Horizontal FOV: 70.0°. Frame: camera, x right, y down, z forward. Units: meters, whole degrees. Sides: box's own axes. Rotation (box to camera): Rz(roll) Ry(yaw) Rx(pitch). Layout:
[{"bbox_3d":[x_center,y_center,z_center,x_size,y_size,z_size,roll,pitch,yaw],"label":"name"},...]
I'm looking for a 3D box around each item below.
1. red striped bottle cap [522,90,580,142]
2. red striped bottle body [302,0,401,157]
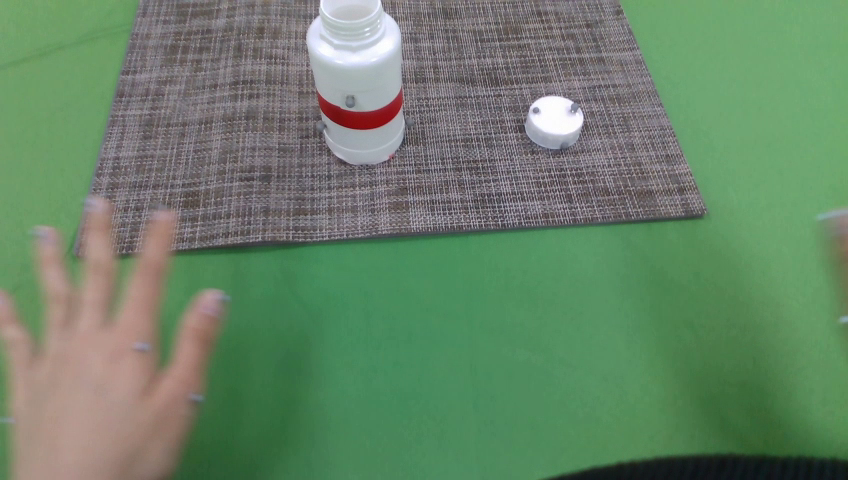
[{"bbox_3d":[0.101,-0.099,0.481,0.044,0.018,0.044,1,55,-1],"label":"red striped bottle cap"},{"bbox_3d":[-0.049,-0.120,0.427,0.063,0.120,0.062,0,58,0],"label":"red striped bottle body"}]
